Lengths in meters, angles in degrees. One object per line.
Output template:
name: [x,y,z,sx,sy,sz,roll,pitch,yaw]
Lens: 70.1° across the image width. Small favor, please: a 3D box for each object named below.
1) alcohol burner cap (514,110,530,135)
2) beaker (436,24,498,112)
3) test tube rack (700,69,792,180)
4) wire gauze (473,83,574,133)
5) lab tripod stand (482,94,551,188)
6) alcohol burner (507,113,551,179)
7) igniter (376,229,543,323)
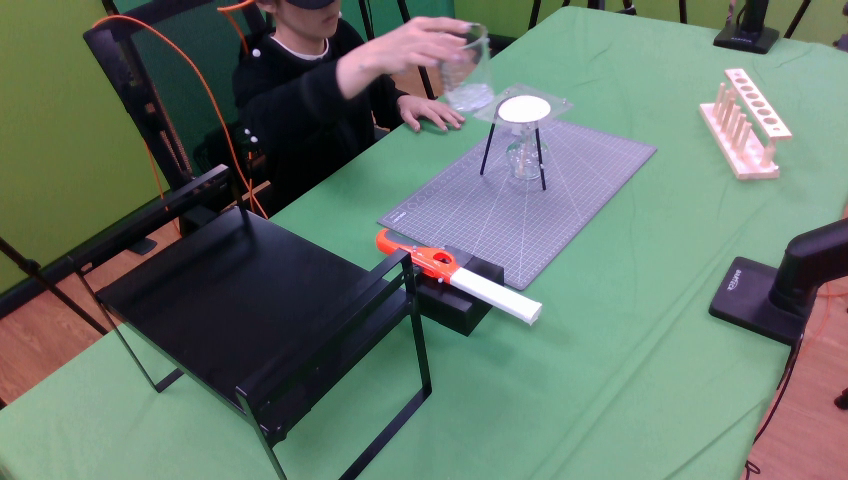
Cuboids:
alcohol burner cap: [0.194,-0.235,1.200,0.034,0.048,0.033,-5,42,5]
beaker: [0.060,-0.237,0.842,0.083,0.101,0.074,26,56,38]
test tube rack: [0.572,-0.215,1.090,0.066,0.085,0.241,-3,41,7]
wire gauze: [0.167,-0.221,1.013,0.120,0.011,0.125,30,55,35]
lab tripod stand: [0.172,-0.176,1.064,0.148,0.132,0.147,-5,42,5]
alcohol burner: [0.186,-0.169,1.069,0.078,0.119,0.077,-5,39,4]
igniter: [0.038,0.044,0.843,0.274,0.025,0.057,25,47,29]
